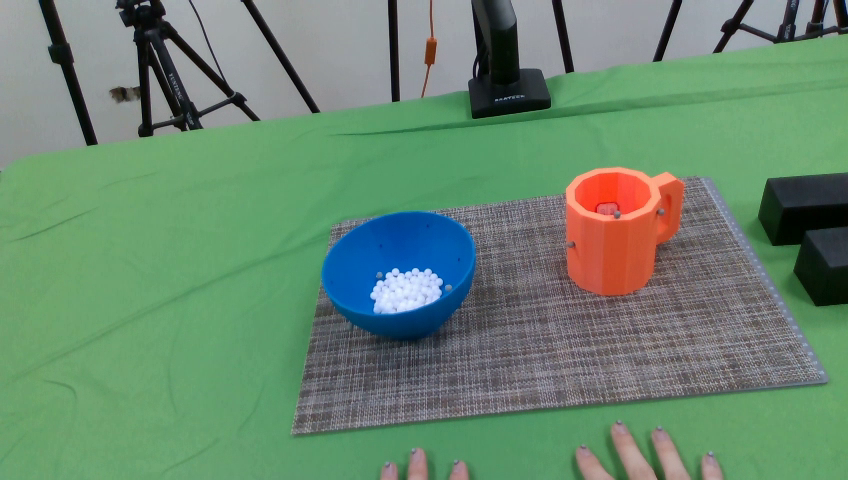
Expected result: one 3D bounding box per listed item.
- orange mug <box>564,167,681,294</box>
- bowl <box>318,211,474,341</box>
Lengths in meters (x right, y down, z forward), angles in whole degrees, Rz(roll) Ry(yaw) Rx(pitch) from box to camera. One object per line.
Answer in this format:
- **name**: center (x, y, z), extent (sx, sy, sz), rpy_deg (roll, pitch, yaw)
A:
- **orange mug**: center (0.198, -0.017, 0.604), extent (0.126, 0.102, 0.082), rpy_deg (-25, 41, -9)
- **bowl**: center (-0.021, 0.047, 0.600), extent (0.151, 0.077, 0.150), rpy_deg (-7, 39, 6)
